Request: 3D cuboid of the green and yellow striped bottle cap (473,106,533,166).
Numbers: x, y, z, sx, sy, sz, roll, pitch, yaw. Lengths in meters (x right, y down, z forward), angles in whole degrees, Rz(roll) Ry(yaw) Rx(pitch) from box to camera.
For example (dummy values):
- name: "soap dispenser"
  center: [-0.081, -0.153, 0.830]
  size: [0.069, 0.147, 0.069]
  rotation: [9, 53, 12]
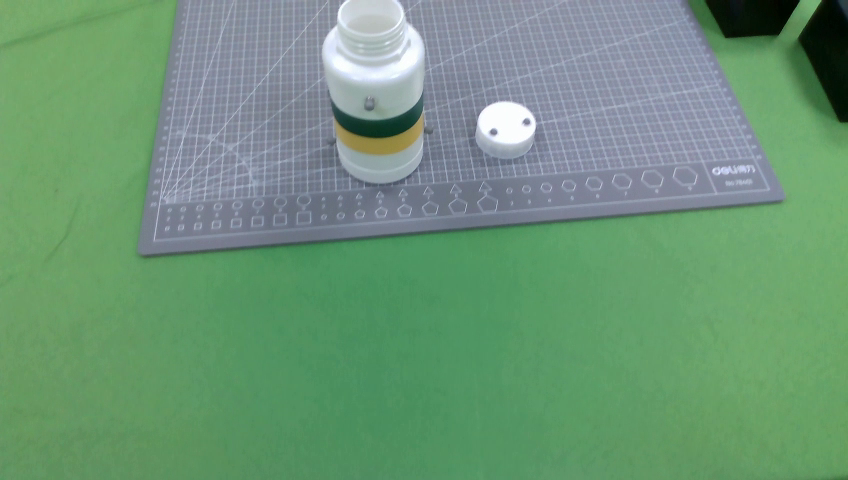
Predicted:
- name: "green and yellow striped bottle cap"
  center: [0.059, -0.079, 0.453]
  size: [0.045, 0.020, 0.045]
  rotation: [1, 60, -1]

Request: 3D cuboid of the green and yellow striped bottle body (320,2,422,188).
- name: "green and yellow striped bottle body"
  center: [-0.033, -0.093, 0.397]
  size: [0.063, 0.120, 0.062]
  rotation: [0, 58, 0]
